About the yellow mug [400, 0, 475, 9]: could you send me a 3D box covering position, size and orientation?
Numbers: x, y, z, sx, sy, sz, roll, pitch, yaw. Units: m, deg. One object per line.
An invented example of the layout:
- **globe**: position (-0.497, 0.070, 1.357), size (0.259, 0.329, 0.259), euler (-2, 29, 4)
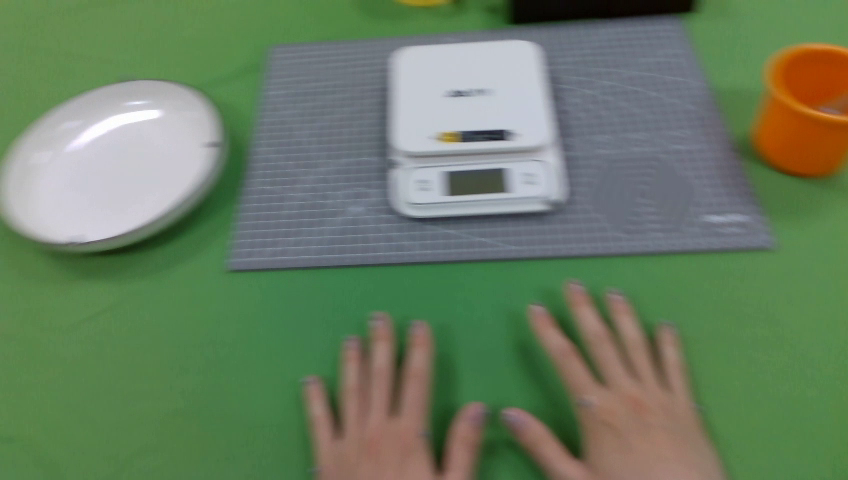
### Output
- **yellow mug**: position (0.018, -0.318, 0.696), size (0.100, 0.064, 0.129), euler (-39, 61, -19)

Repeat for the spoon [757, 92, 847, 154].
- **spoon**: position (0.360, -0.123, 0.471), size (0.022, 0.194, 0.041), euler (21, 52, -34)

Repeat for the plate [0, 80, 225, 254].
- **plate**: position (-0.288, -0.069, 0.574), size (0.209, 0.038, 0.207), euler (-2, 55, 4)

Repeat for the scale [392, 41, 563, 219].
- **scale**: position (0.045, -0.108, 0.565), size (0.148, 0.032, 0.199), euler (-3, 56, 5)
